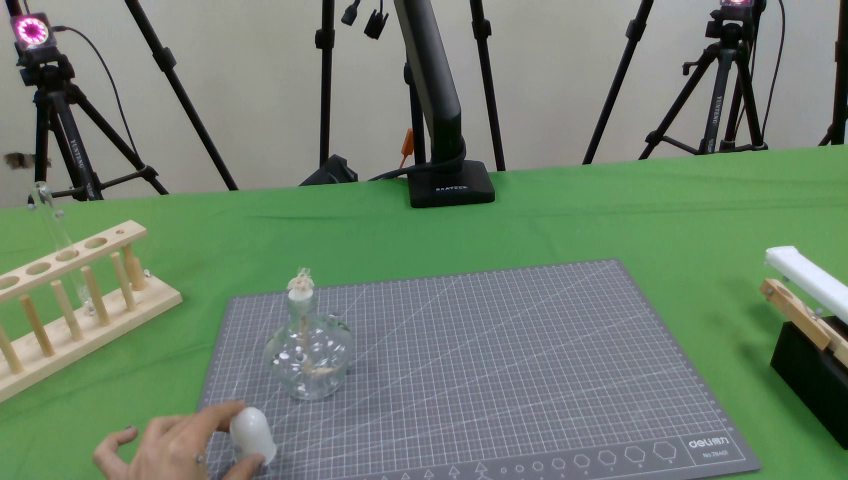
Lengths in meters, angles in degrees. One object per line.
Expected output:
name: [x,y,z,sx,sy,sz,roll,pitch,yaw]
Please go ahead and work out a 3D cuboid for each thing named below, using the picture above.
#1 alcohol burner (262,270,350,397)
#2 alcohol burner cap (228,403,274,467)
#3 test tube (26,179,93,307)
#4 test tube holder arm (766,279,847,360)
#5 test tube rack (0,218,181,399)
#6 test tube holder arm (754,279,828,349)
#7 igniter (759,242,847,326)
alcohol burner: [-0.105,0.078,0.533,0.078,0.120,0.077,-2,30,1]
alcohol burner cap: [-0.137,0.149,0.473,0.034,0.048,0.033,-2,31,1]
test tube: [-0.359,0.007,0.603,0.017,0.151,0.017,-1,35,1]
test tube holder arm: [0.339,0.084,0.495,0.013,0.015,0.176,-10,31,-10]
test tube rack: [-0.374,0.072,0.594,0.066,0.086,0.242,22,40,34]
test tube holder arm: [0.323,0.063,0.532,0.010,0.015,0.087,-9,31,-8]
igniter: [0.376,0.074,0.503,0.057,0.025,0.274,-7,29,-5]
